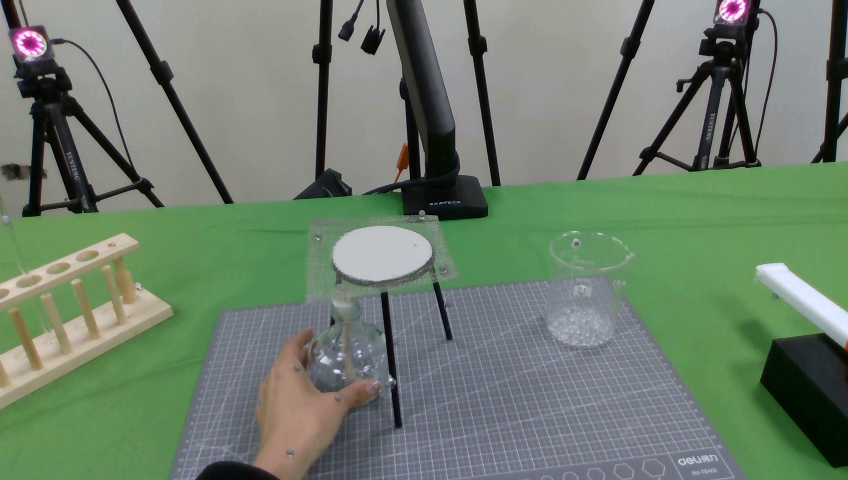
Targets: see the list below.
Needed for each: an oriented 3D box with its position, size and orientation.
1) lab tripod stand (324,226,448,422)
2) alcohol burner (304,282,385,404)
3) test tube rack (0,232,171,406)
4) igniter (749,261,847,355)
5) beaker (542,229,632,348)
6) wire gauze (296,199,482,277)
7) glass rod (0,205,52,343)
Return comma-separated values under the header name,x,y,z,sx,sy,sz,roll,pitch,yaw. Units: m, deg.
name,x,y,z,sx,sy,sz,roll,pitch,yaw
lab tripod stand,-0.034,0.067,0.550,0.148,0.132,0.147,0,32,0
alcohol burner,-0.069,0.087,0.538,0.078,0.120,0.077,0,30,0
test tube rack,-0.384,0.085,0.591,0.066,0.086,0.242,22,38,34
igniter,0.367,0.091,0.505,0.057,0.025,0.274,-6,27,-6
beaker,0.158,0.050,0.602,0.084,0.101,0.073,-1,31,2
wire gauze,-0.032,-0.003,0.504,0.125,0.011,0.120,-9,27,-27
glass rod,-0.381,0.022,0.568,0.008,0.201,0.008,2,33,-1
